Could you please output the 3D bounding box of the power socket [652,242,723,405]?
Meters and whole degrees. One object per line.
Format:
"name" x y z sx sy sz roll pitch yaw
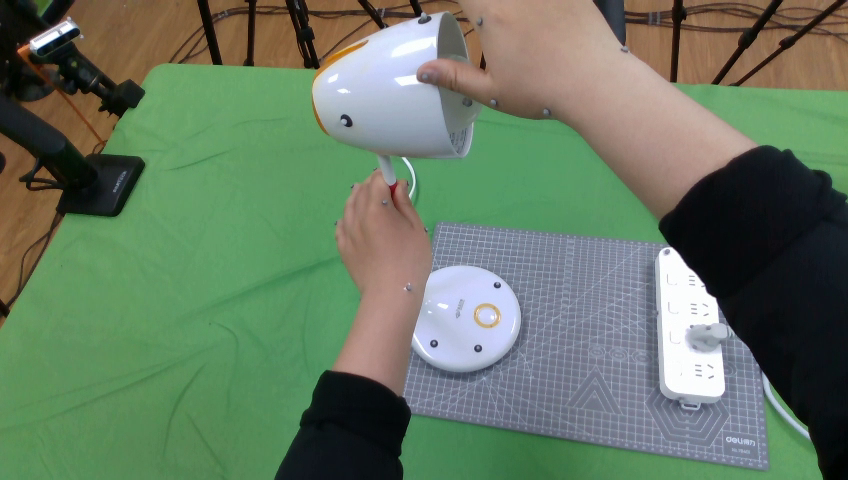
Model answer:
"power socket" 0.340 0.099 0.788 0.072 0.033 0.225 5 59 9

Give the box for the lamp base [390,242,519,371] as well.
"lamp base" 0.027 0.061 0.766 0.179 0.182 0.159 -1 58 11

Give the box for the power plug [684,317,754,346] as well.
"power plug" 0.361 0.119 0.751 0.072 0.053 0.035 15 62 13

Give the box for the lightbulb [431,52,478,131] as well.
"lightbulb" -0.010 -0.116 0.478 0.107 0.060 0.059 4 58 20

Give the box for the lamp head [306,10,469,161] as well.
"lamp head" -0.030 -0.115 0.493 0.122 0.113 0.111 -7 56 21
